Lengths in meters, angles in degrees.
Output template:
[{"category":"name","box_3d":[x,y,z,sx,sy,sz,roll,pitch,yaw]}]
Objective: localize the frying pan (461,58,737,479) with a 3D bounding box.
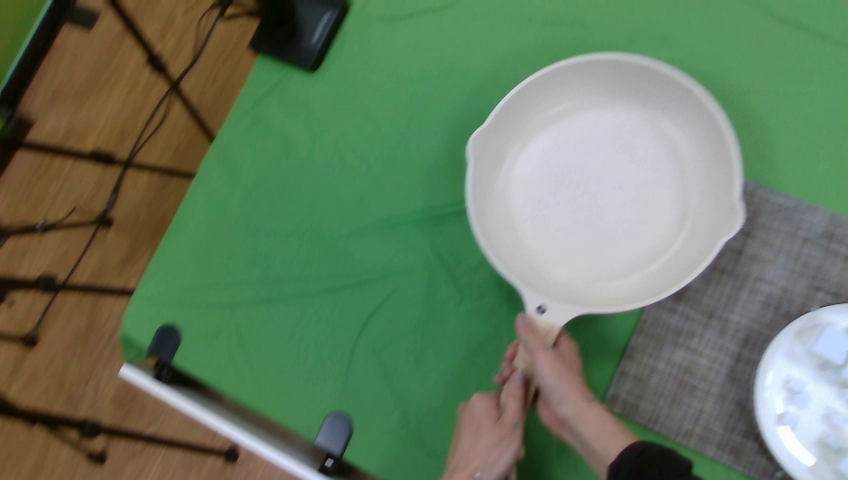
[{"category":"frying pan","box_3d":[0.151,0.033,0.674,0.305,0.103,0.486,20,76,17]}]

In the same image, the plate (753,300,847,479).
[{"category":"plate","box_3d":[0.446,0.165,0.618,0.207,0.039,0.206,-3,76,12]}]
